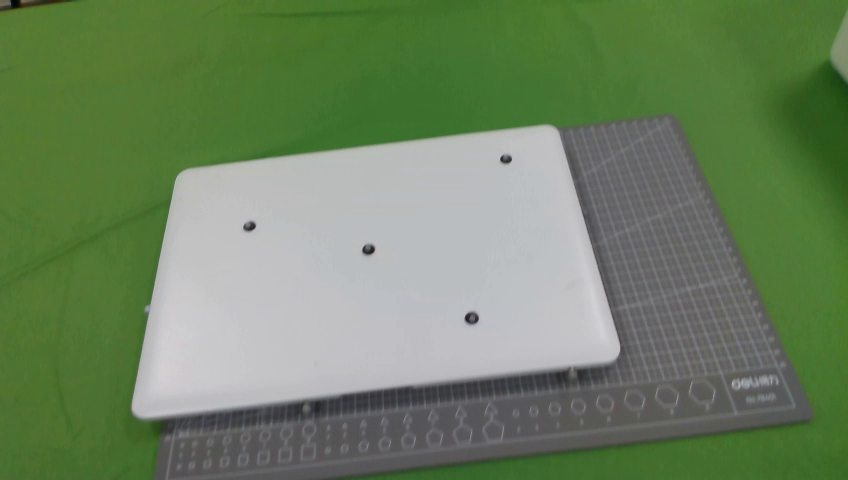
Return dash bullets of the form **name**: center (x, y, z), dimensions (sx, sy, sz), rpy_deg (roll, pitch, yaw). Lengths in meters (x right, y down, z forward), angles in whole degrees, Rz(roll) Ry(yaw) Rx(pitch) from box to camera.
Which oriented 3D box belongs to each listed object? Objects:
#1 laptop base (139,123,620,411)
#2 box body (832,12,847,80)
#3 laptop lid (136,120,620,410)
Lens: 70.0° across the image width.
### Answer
- **laptop base**: center (-0.042, 0.011, 0.502), dimensions (0.354, 0.023, 0.233), rpy_deg (-7, 57, 1)
- **box body**: center (0.530, -0.118, 0.447), dimensions (0.254, 0.162, 0.360), rpy_deg (-11, 54, -2)
- **laptop lid**: center (-0.043, 0.006, 0.491), dimensions (0.357, 0.013, 0.239), rpy_deg (-5, 56, 2)
